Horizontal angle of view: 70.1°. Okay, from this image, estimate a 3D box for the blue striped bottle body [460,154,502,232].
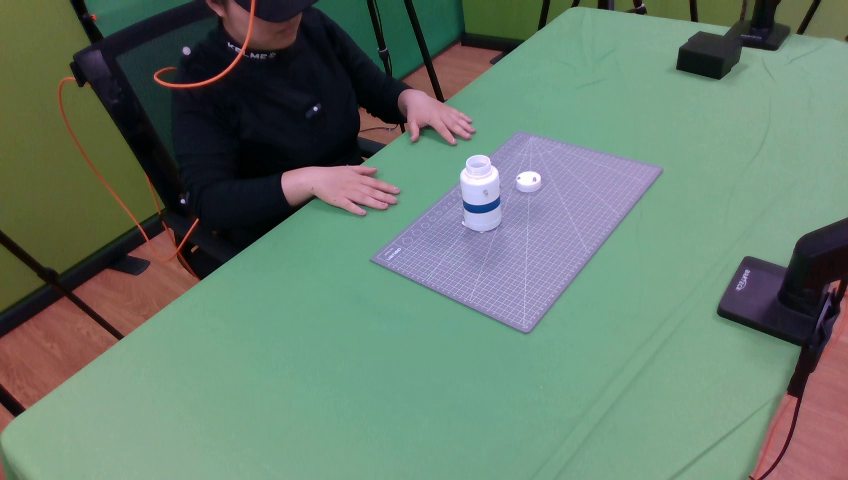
[{"bbox_3d":[0.092,-0.078,0.976,0.063,0.121,0.063,-6,40,5],"label":"blue striped bottle body"}]

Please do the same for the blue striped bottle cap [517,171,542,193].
[{"bbox_3d":[0.187,-0.103,1.072,0.044,0.021,0.044,-5,42,5],"label":"blue striped bottle cap"}]
